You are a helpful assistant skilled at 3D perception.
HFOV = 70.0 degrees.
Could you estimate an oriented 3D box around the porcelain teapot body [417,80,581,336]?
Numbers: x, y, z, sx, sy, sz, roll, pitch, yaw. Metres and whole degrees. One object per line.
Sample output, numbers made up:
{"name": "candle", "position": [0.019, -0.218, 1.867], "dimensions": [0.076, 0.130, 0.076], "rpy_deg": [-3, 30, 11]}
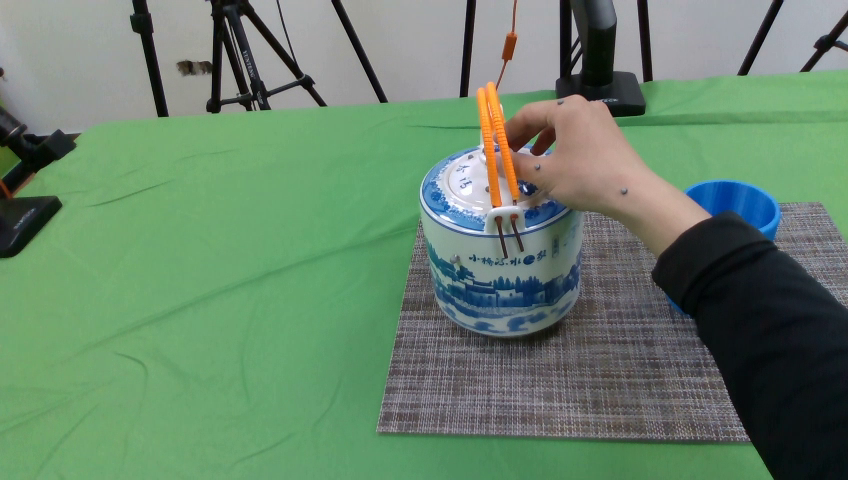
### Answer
{"name": "porcelain teapot body", "position": [0.067, -0.048, 0.568], "dimensions": [0.145, 0.227, 0.203], "rpy_deg": [-6, 39, 4]}

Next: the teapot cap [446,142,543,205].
{"name": "teapot cap", "position": [0.060, -0.061, 0.522], "dimensions": [0.085, 0.044, 0.084], "rpy_deg": [-2, 38, 2]}

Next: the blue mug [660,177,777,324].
{"name": "blue mug", "position": [0.264, 0.018, 0.542], "dimensions": [0.082, 0.107, 0.115], "rpy_deg": [-2, 40, 10]}
